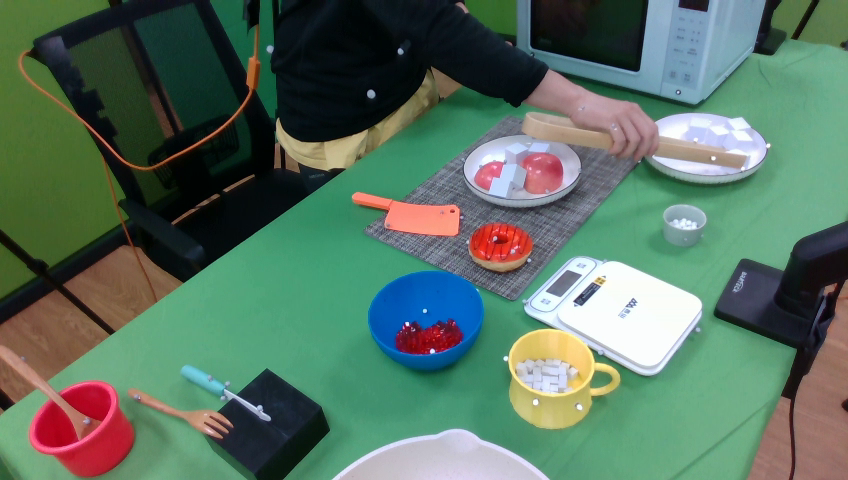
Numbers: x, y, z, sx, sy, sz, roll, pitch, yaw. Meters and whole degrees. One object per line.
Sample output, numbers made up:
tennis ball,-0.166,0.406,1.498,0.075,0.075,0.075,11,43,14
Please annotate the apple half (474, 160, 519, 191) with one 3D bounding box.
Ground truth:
apple half,0.130,-0.120,1.068,0.081,0.033,0.081,-4,36,3

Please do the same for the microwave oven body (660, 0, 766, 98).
microwave oven body,0.472,-0.513,1.317,0.438,0.261,0.327,26,51,34

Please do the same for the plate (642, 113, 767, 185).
plate,0.489,-0.157,1.074,0.207,0.039,0.206,-4,40,4

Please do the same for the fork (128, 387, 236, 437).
fork,-0.305,0.207,0.744,0.206,0.019,0.028,3,41,36

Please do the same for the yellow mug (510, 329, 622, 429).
yellow mug,0.168,0.164,0.721,0.130,0.064,0.099,0,40,8

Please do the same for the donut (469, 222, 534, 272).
donut,0.118,0.009,0.923,0.099,0.048,0.098,-3,39,3

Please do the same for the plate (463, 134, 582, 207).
plate,0.173,-0.119,1.070,0.209,0.038,0.208,-4,40,4

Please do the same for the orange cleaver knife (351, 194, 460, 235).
orange cleaver knife,-0.036,-0.044,1.029,0.210,0.012,0.077,10,47,18

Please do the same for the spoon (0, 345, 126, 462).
spoon,-0.434,0.192,0.720,0.194,0.021,0.042,47,53,-6

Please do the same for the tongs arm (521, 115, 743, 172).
tongs arm,0.337,-0.147,0.951,0.390,0.028,0.028,7,33,-16

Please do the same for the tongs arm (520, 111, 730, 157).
tongs arm,0.333,-0.159,0.971,0.386,0.026,0.050,9,29,-12

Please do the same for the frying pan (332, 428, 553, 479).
frying pan,-0.089,0.306,0.564,0.487,0.103,0.306,10,41,7

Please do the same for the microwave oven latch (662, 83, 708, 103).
microwave oven latch,0.518,-0.296,1.204,0.078,0.029,0.030,28,52,35

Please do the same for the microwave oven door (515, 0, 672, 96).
microwave oven door,0.343,-0.455,1.259,0.353,0.245,0.039,26,51,33

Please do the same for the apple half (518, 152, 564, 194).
apple half,0.204,-0.124,1.048,0.075,0.053,0.080,-7,41,-3

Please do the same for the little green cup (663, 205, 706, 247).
little green cup,0.396,-0.021,0.926,0.061,0.039,0.061,-4,40,4

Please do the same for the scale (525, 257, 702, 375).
scale,0.254,0.091,0.821,0.199,0.032,0.149,27,51,35

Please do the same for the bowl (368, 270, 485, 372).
bowl,0.007,0.118,0.791,0.151,0.077,0.150,-5,40,4

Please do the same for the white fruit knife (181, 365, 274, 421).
white fruit knife,-0.245,0.187,0.747,0.205,0.027,0.016,9,41,41
